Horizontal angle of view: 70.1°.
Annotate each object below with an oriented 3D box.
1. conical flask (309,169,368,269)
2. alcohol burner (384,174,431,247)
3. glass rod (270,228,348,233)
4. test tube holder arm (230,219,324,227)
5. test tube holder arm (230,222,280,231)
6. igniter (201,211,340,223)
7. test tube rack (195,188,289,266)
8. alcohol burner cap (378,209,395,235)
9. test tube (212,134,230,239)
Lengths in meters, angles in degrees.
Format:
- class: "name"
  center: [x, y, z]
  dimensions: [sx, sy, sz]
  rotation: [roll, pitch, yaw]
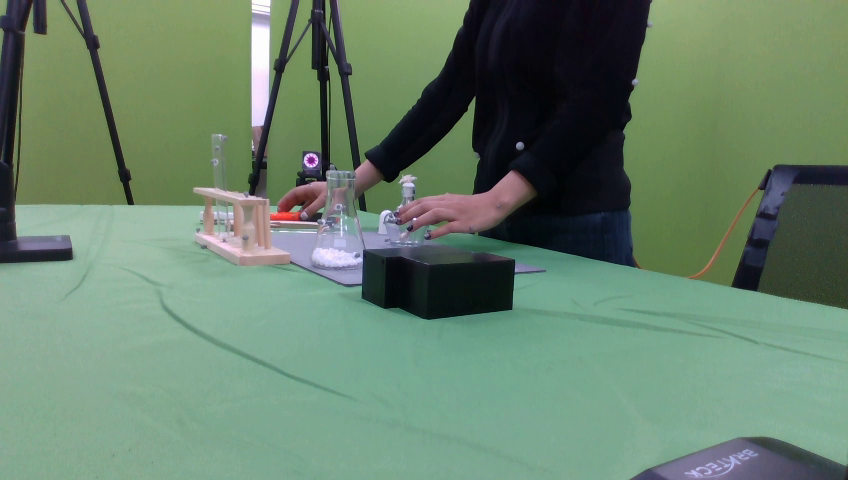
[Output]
- class: "conical flask"
  center: [-0.106, -0.028, 0.762]
  dimensions: [0.075, 0.122, 0.075]
  rotation: [2, 7, 0]
- class: "alcohol burner"
  center: [-0.026, -0.049, 0.994]
  dimensions: [0.078, 0.119, 0.078]
  rotation: [2, 9, 0]
- class: "glass rod"
  center: [-0.234, -0.017, 1.105]
  dimensions: [0.201, 0.008, 0.008]
  rotation: [1, 7, -26]
- class: "test tube holder arm"
  center: [-0.275, -0.031, 1.145]
  dimensions: [0.179, 0.015, 0.013]
  rotation: [-3, 46, -31]
- class: "test tube holder arm"
  center: [-0.312, -0.025, 1.118]
  dimensions: [0.088, 0.015, 0.010]
  rotation: [-1, 46, -30]
- class: "igniter"
  center: [-0.311, -0.047, 1.243]
  dimensions: [0.278, 0.025, 0.057]
  rotation: [-1, -2, -24]
- class: "test tube rack"
  center: [-0.266, -0.025, 0.864]
  dimensions: [0.067, 0.085, 0.241]
  rotation: [-2, 8, -33]
- class: "alcohol burner cap"
  center: [-0.070, -0.035, 1.144]
  dimensions: [0.034, 0.048, 0.034]
  rotation: [1, 7, 0]
- class: "test tube"
  center: [-0.290, -0.076, 0.863]
  dimensions: [0.017, 0.150, 0.017]
  rotation: [-2, 6, 0]
